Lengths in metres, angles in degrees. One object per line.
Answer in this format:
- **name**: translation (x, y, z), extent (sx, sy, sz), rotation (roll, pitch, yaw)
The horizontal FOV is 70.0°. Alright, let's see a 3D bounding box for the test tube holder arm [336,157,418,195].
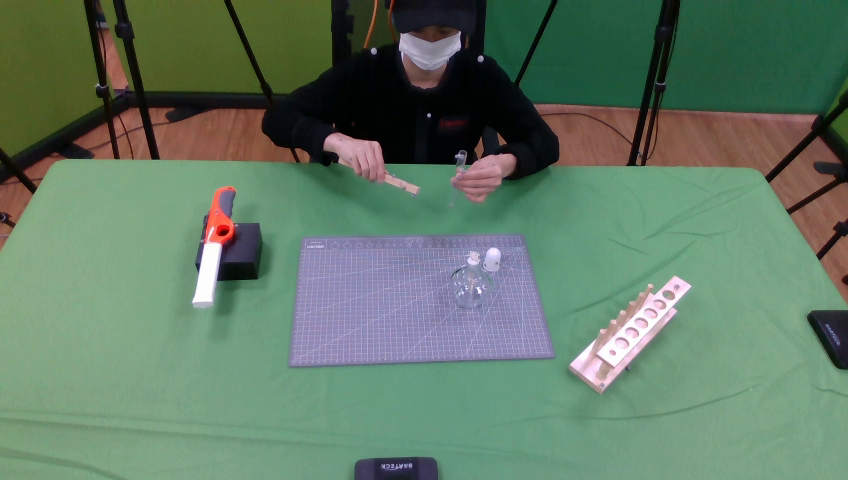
- **test tube holder arm**: translation (-0.093, -0.127, 1.187), extent (0.178, 0.015, 0.013), rotation (23, 10, 14)

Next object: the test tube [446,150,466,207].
- **test tube**: translation (0.059, -0.111, 1.133), extent (0.017, 0.151, 0.017), rotation (4, 54, -5)

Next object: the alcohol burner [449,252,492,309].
- **alcohol burner**: translation (0.084, 0.066, 1.073), extent (0.078, 0.120, 0.077), rotation (1, 44, -1)

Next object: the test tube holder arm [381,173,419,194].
- **test tube holder arm**: translation (-0.051, -0.110, 1.181), extent (0.087, 0.015, 0.010), rotation (23, 10, 14)

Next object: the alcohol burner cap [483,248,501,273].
- **alcohol burner cap**: translation (0.130, 0.037, 1.156), extent (0.034, 0.048, 0.033), rotation (1, 46, -1)

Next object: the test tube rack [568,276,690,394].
- **test tube rack**: translation (0.353, 0.149, 1.039), extent (0.242, 0.085, 0.066), rotation (-34, 56, -31)

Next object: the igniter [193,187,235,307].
- **igniter**: translation (-0.378, 0.003, 1.096), extent (0.057, 0.025, 0.274), rotation (-1, 49, -6)
